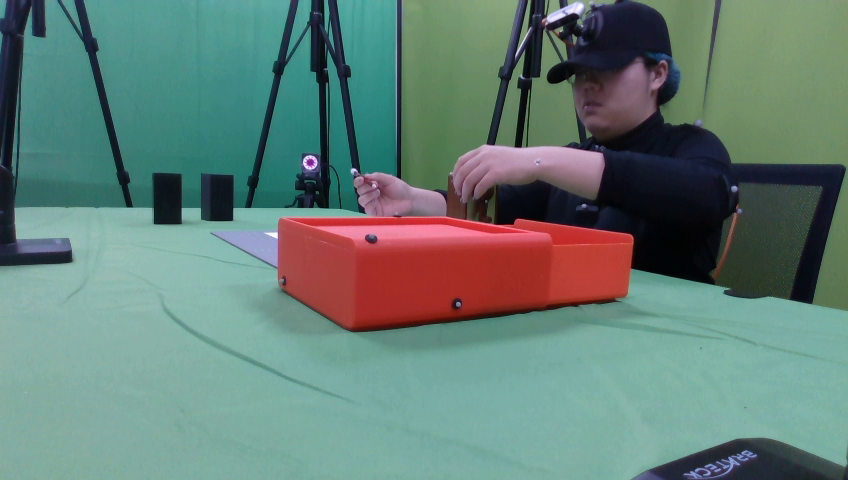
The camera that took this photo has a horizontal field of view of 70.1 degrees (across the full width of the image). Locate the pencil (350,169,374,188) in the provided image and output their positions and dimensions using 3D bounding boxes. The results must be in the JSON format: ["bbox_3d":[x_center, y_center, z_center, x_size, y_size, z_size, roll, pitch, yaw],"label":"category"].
[{"bbox_3d":[-0.113,-0.113,1.106,0.012,0.012,0.193,0,14,-19],"label":"pencil"}]

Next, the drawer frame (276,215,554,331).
[{"bbox_3d":[-0.015,0.022,0.610,0.215,0.082,0.200,-2,9,-32],"label":"drawer frame"}]

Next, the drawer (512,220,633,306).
[{"bbox_3d":[0.085,0.021,0.674,0.213,0.073,0.193,-2,9,-32],"label":"drawer"}]

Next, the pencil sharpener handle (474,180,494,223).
[{"bbox_3d":[0.101,-0.060,0.949,0.036,0.067,0.030,1,8,-26],"label":"pencil sharpener handle"}]

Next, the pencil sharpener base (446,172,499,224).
[{"bbox_3d":[0.079,-0.055,0.996,0.061,0.107,0.076,-1,9,-26],"label":"pencil sharpener base"}]
